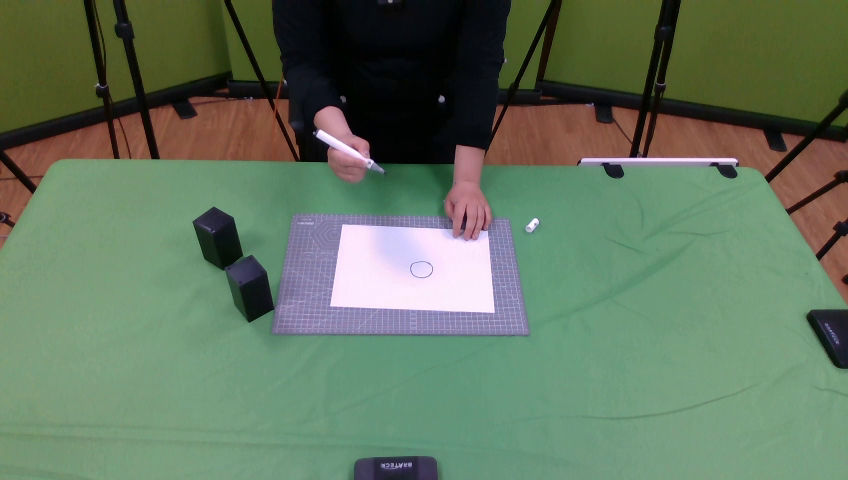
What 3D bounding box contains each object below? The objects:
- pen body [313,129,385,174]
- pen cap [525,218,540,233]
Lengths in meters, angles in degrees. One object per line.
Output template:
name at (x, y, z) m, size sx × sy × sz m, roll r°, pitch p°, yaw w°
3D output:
pen body at (-0.131, -0.156, 1.081) m, size 0.144 × 0.017 × 0.017 m, roll 31°, pitch 47°, yaw -5°
pen cap at (0.224, -0.031, 1.248) m, size 0.017 × 0.017 × 0.038 m, roll 30°, pitch 51°, yaw 23°
